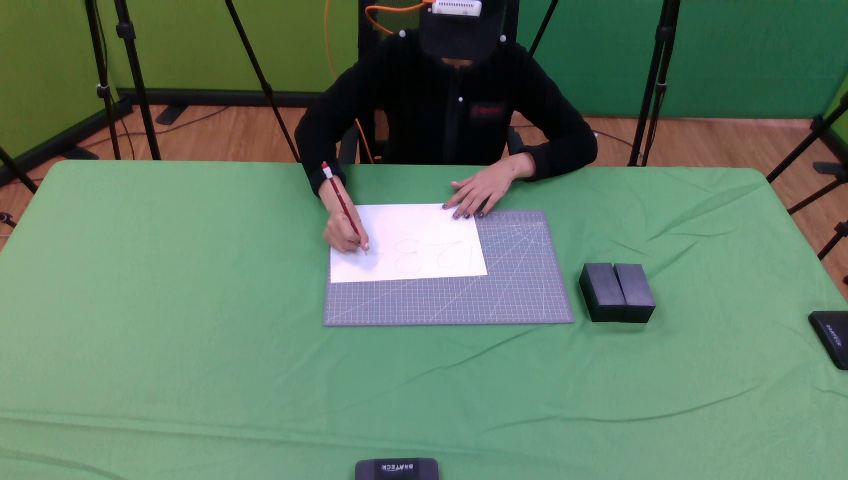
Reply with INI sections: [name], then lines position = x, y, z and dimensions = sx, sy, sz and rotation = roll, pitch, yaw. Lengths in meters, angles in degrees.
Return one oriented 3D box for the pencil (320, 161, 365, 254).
[pencil]
position = -0.152, -0.058, 1.144
dimensions = 0.012, 0.194, 0.012
rotation = -21, 17, 7
